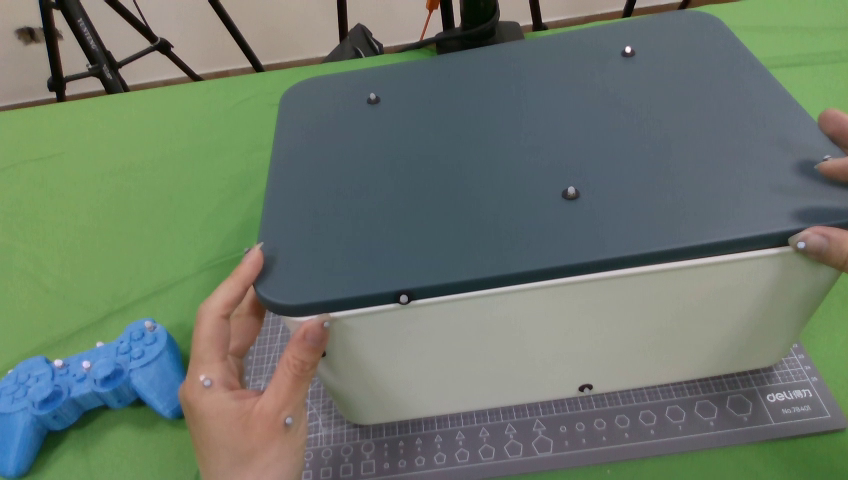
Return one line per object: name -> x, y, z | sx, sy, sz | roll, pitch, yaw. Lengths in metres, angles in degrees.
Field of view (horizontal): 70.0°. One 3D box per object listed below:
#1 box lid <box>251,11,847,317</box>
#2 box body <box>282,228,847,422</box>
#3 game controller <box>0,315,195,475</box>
box lid -> 0.068, -0.074, 0.429 | 0.371, 0.015, 0.260 | -9, 45, 2
box body -> 0.087, -0.016, 0.482 | 0.364, 0.162, 0.251 | -9, 46, 1
game controller -> -0.274, 0.118, 0.498 | 0.155, 0.052, 0.096 | -19, 44, -9
